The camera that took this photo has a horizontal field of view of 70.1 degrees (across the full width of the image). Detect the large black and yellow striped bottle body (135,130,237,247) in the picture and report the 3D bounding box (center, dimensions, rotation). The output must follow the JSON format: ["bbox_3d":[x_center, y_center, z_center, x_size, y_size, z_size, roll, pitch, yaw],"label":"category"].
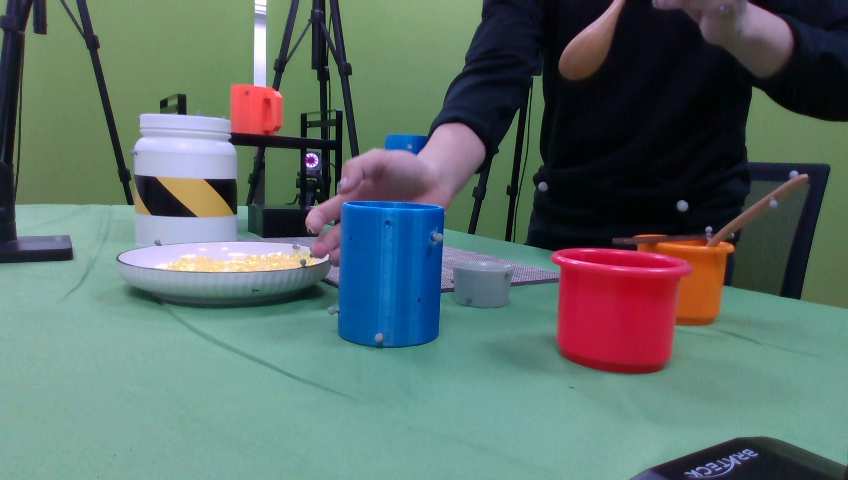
[{"bbox_3d":[-0.327,-0.074,0.838,0.131,0.184,0.130,2,7,0],"label":"large black and yellow striped bottle body"}]

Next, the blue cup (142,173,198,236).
[{"bbox_3d":[-0.425,-0.060,1.014,0.093,0.100,0.092,4,9,0],"label":"blue cup"}]

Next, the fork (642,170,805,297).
[{"bbox_3d":[0.261,0.003,0.545,0.028,0.018,0.207,5,-37,-15],"label":"fork"}]

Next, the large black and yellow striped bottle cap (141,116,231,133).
[{"bbox_3d":[-0.324,-0.157,0.826,0.115,0.019,0.115,1,7,0],"label":"large black and yellow striped bottle cap"}]

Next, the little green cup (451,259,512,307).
[{"bbox_3d":[0.057,0.043,0.612,0.061,0.038,0.061,3,8,0],"label":"little green cup"}]

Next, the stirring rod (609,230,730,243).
[{"bbox_3d":[0.241,-0.004,0.582,0.177,0.006,0.014,-3,10,-33],"label":"stirring rod"}]

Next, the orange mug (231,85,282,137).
[{"bbox_3d":[-0.335,-0.261,1.225,0.125,0.100,0.084,2,6,35],"label":"orange mug"}]

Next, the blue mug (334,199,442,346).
[{"bbox_3d":[-0.035,0.020,0.498,0.083,0.106,0.116,0,8,-20],"label":"blue mug"}]

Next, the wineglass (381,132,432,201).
[{"bbox_3d":[-0.026,-0.062,0.841,0.074,0.172,0.073,2,7,0],"label":"wineglass"}]

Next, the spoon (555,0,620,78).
[{"bbox_3d":[0.190,-0.239,0.575,0.042,0.193,0.021,30,11,-23],"label":"spoon"}]

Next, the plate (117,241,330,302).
[{"bbox_3d":[-0.203,0.031,0.630,0.209,0.038,0.209,3,7,0],"label":"plate"}]
